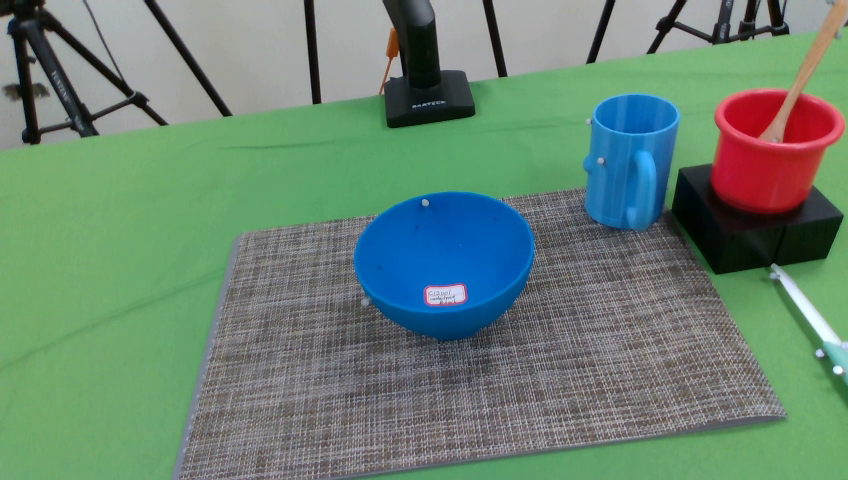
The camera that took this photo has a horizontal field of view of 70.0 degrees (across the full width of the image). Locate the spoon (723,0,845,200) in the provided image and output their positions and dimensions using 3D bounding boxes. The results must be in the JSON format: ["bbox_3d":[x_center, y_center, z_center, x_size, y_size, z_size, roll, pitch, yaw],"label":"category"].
[{"bbox_3d":[0.317,-0.122,0.525,0.041,0.022,0.194,29,98,38],"label":"spoon"}]

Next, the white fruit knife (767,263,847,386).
[{"bbox_3d":[0.318,0.086,0.464,0.027,0.016,0.205,13,36,-16],"label":"white fruit knife"}]

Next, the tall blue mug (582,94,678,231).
[{"bbox_3d":[0.204,-0.067,0.579,0.078,0.109,0.106,-22,42,-15],"label":"tall blue mug"}]

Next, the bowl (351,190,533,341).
[{"bbox_3d":[0.019,0.034,0.521,0.151,0.077,0.150,-5,41,5],"label":"bowl"}]
